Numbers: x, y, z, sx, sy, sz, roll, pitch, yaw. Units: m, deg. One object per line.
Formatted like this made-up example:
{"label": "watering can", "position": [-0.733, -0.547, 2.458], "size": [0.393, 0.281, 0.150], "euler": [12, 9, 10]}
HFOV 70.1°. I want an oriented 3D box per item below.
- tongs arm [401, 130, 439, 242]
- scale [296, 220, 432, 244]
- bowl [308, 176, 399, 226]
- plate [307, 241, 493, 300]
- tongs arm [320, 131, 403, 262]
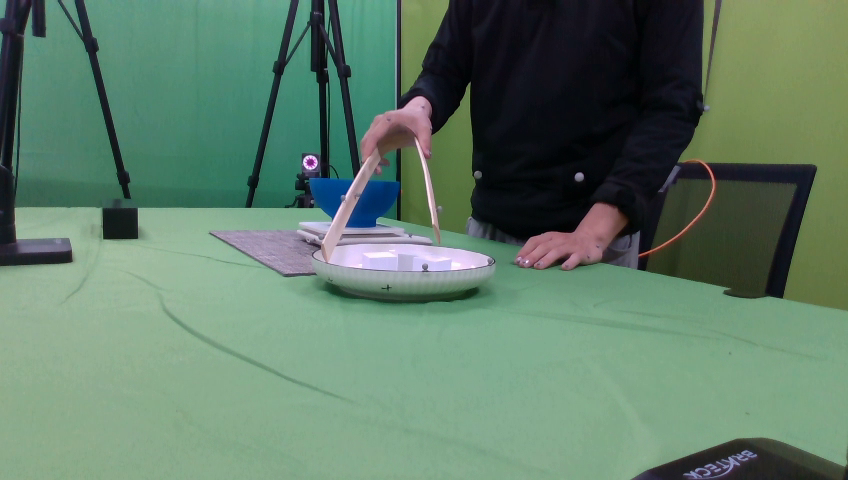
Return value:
{"label": "tongs arm", "position": [-0.006, -0.088, 0.807], "size": [0.028, 0.028, 0.386], "euler": [-18, 25, 3]}
{"label": "scale", "position": [-0.101, -0.012, 1.017], "size": [0.202, 0.031, 0.148], "euler": [-1, 8, -30]}
{"label": "bowl", "position": [-0.117, -0.064, 1.001], "size": [0.151, 0.077, 0.151], "euler": [2, 6, 0]}
{"label": "plate", "position": [-0.026, 0.034, 0.684], "size": [0.208, 0.039, 0.207], "euler": [2, 7, 0]}
{"label": "tongs arm", "position": [-0.073, -0.076, 0.814], "size": [0.051, 0.026, 0.384], "euler": [-11, 25, 10]}
